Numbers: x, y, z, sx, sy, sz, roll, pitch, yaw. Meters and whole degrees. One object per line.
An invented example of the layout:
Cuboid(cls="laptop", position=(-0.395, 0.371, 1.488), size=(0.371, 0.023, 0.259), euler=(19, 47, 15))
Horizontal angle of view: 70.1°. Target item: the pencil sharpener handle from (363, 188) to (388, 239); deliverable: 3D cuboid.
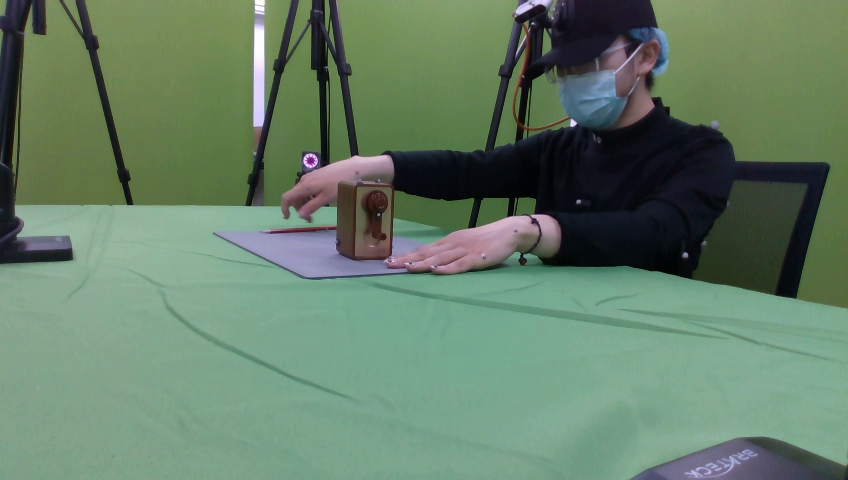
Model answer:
Cuboid(cls="pencil sharpener handle", position=(-0.060, -0.035, 0.808), size=(0.036, 0.067, 0.030), euler=(-2, 9, -28))

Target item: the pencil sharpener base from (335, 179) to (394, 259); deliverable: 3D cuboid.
Cuboid(cls="pencil sharpener base", position=(-0.084, -0.030, 0.854), size=(0.061, 0.107, 0.076), euler=(-1, 8, -28))

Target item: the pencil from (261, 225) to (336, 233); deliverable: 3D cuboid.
Cuboid(cls="pencil", position=(-0.212, -0.021, 1.123), size=(0.195, 0.012, 0.012), euler=(-5, 11, -40))
